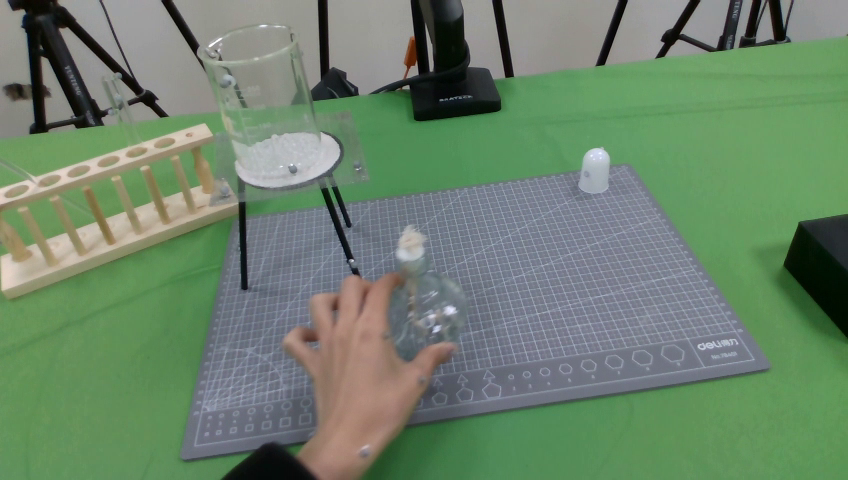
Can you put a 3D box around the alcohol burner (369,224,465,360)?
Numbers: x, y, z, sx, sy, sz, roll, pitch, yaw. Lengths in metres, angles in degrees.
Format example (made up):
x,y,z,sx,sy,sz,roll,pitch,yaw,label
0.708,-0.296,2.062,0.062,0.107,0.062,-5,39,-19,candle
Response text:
x,y,z,sx,sy,sz,roll,pitch,yaw,label
-0.007,0.037,0.475,0.078,0.120,0.077,-4,38,3,alcohol burner

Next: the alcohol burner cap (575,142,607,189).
x,y,z,sx,sy,sz,roll,pitch,yaw,label
0.180,-0.083,0.650,0.034,0.048,0.033,-3,40,3,alcohol burner cap

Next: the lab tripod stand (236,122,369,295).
x,y,z,sx,sy,sz,roll,pitch,yaw,label
-0.111,-0.026,0.548,0.148,0.133,0.147,-4,42,4,lab tripod stand

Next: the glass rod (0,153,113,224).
x,y,z,sx,sy,sz,roll,pitch,yaw,label
-0.391,-0.068,0.589,0.008,0.202,0.008,-19,51,25,glass rod

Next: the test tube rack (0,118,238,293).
x,y,z,sx,sy,sz,roll,pitch,yaw,label
-0.330,-0.042,0.637,0.243,0.086,0.066,-24,43,-20,test tube rack

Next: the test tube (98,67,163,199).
x,y,z,sx,sy,sz,roll,pitch,yaw,label
-0.305,-0.107,0.634,0.017,0.151,0.017,-3,37,3,test tube

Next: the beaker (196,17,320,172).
x,y,z,sx,sy,sz,roll,pitch,yaw,label
-0.126,-0.111,0.473,0.083,0.101,0.073,12,43,22,beaker

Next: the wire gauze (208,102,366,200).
x,y,z,sx,sy,sz,roll,pitch,yaw,label
-0.117,-0.075,0.506,0.125,0.011,0.120,-14,39,-4,wire gauze
